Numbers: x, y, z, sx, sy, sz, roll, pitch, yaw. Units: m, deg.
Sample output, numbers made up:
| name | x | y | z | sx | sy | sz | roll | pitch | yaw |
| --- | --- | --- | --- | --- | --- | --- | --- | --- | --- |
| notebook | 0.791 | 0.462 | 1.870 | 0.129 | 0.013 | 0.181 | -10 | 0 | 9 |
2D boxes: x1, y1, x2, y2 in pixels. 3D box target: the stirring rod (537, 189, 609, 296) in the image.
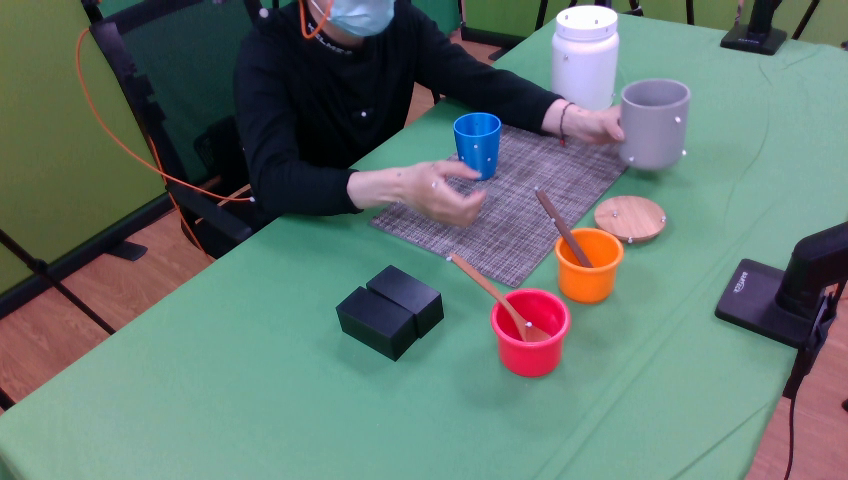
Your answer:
| name | x | y | z | sx | sy | sz | roll | pitch | yaw |
| --- | --- | --- | --- | --- | --- | --- | --- | --- | --- |
| stirring rod | 0.210 | 0.003 | 0.855 | 0.014 | 0.006 | 0.176 | -32 | 89 | -30 |

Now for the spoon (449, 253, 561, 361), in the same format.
| name | x | y | z | sx | sy | sz | roll | pitch | yaw |
| --- | --- | --- | --- | --- | --- | --- | --- | --- | --- |
| spoon | 0.103 | 0.083 | 0.770 | 0.194 | 0.021 | 0.042 | 47 | 51 | -7 |

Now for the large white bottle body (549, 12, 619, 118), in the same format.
| name | x | y | z | sx | sy | sz | roll | pitch | yaw |
| --- | --- | --- | --- | --- | --- | --- | --- | --- | --- |
| large white bottle body | 0.321 | -0.356 | 1.218 | 0.130 | 0.185 | 0.130 | -4 | 41 | 4 |

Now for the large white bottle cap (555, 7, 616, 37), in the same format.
| name | x | y | z | sx | sy | sz | roll | pitch | yaw |
| --- | --- | --- | --- | --- | --- | --- | --- | --- | --- |
| large white bottle cap | 0.311 | -0.420 | 1.163 | 0.115 | 0.018 | 0.114 | -4 | 40 | 4 |

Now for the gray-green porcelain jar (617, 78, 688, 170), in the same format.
| name | x | y | z | sx | sy | sz | roll | pitch | yaw |
| --- | --- | --- | --- | --- | --- | --- | --- | --- | --- |
| gray-green porcelain jar | 0.377 | -0.189 | 1.006 | 0.106 | 0.127 | 0.105 | -7 | 38 | 6 |

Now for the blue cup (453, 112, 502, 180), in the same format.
| name | x | y | z | sx | sy | sz | roll | pitch | yaw |
| --- | --- | --- | --- | --- | --- | --- | --- | --- | --- |
| blue cup | 0.097 | -0.165 | 1.088 | 0.092 | 0.100 | 0.092 | -3 | 40 | 3 |

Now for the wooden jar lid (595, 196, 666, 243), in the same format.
| name | x | y | z | sx | sy | sz | roll | pitch | yaw |
| --- | --- | --- | --- | --- | --- | --- | --- | --- | --- |
| wooden jar lid | 0.328 | -0.031 | 0.967 | 0.108 | 0.021 | 0.108 | -4 | 41 | 4 |
